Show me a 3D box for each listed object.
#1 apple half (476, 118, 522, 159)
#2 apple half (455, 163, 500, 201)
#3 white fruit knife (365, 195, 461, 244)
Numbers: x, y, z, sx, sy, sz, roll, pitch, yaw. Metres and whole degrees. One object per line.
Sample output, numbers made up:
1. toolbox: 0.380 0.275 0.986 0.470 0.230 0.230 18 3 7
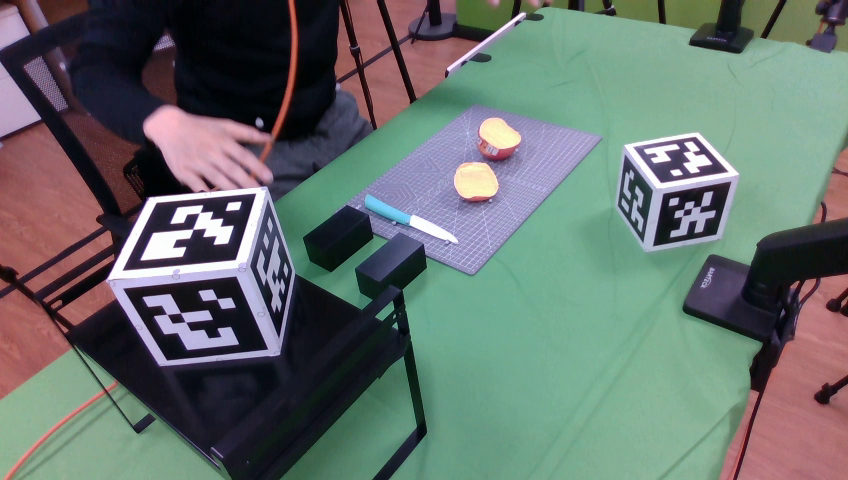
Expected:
1. apple half: 0.136 -0.182 1.133 0.080 0.053 0.075 40 52 15
2. apple half: 0.090 -0.096 1.053 0.081 0.033 0.081 3 58 -4
3. white fruit knife: -0.023 -0.033 1.012 0.206 0.016 0.027 24 62 30
